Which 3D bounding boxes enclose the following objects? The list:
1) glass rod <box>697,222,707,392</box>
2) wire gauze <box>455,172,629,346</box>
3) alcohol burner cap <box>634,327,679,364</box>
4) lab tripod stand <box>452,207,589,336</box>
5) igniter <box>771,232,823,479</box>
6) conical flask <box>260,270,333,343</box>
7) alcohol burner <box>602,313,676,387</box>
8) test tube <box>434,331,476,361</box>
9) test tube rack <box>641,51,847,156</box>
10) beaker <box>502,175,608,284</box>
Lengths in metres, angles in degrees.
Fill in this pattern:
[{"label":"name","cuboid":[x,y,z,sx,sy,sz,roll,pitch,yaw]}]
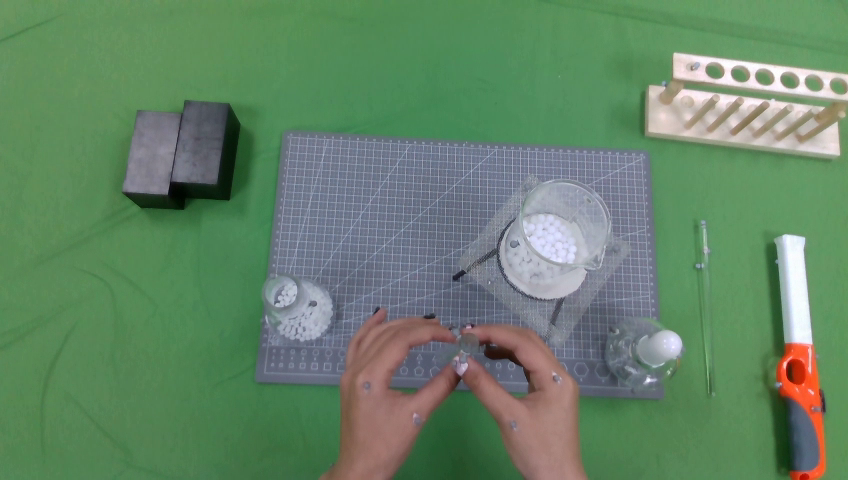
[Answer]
[{"label":"glass rod","cuboid":[0.323,0.075,0.703,0.008,0.008,0.199,5,78,-2]},{"label":"wire gauze","cuboid":[0.111,0.014,0.573,0.125,0.011,0.121,39,79,6]},{"label":"alcohol burner cap","cuboid":[0.232,0.101,0.597,0.034,0.048,0.033,2,68,-5]},{"label":"lab tripod stand","cuboid":[0.107,0.029,0.637,0.148,0.132,0.147,0,76,-1]},{"label":"igniter","cuboid":[0.420,0.125,0.685,0.057,0.025,0.275,8,75,-12]},{"label":"conical flask","cuboid":[-0.136,0.062,0.621,0.075,0.122,0.075,1,75,-2]},{"label":"alcohol burner","cuboid":[0.230,0.112,0.631,0.078,0.119,0.077,0,74,0]},{"label":"test tube","cuboid":[0.024,0.091,0.512,0.017,0.150,0.017,1,76,-6]},{"label":"test tube rack","cuboid":[0.398,-0.163,0.731,0.242,0.085,0.066,7,74,-1]},{"label":"beaker","cuboid":[0.110,-0.002,0.527,0.074,0.100,0.083,-35,79,-10]}]
